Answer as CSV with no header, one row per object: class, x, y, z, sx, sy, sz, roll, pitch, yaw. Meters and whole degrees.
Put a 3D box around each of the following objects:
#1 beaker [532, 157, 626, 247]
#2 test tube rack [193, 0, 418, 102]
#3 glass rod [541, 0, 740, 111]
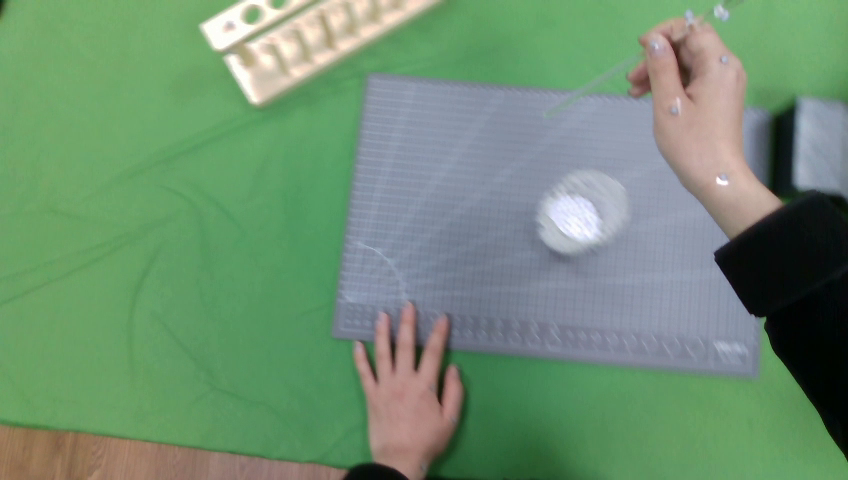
beaker,0.146,-0.033,0.607,0.084,0.100,0.073,-6,82,1
test tube rack,-0.111,-0.251,0.647,0.242,0.085,0.066,-32,83,-3
glass rod,0.156,-0.137,0.453,0.008,0.199,0.008,8,74,-30
